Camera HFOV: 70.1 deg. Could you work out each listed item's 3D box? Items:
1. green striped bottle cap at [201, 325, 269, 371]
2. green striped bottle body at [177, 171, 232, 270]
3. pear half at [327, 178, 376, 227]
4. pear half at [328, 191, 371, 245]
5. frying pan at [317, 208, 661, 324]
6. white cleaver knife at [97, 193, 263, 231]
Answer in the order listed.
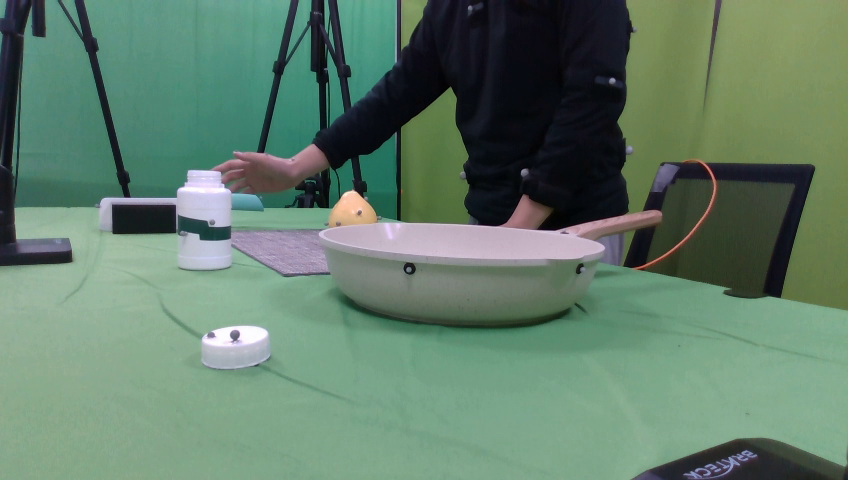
[{"bbox_3d":[-0.129,0.073,0.415,0.044,0.020,0.044,3,8,0],"label":"green striped bottle cap"},{"bbox_3d":[-0.273,-0.026,0.752,0.063,0.119,0.063,2,7,0],"label":"green striped bottle body"},{"bbox_3d":[-0.109,-0.042,0.942,0.077,0.110,0.055,-7,10,-25],"label":"pear half"},{"bbox_3d":[-0.124,-0.037,0.976,0.071,0.088,0.031,-6,11,-25],"label":"pear half"},{"bbox_3d":[0.121,0.006,0.691,0.490,0.102,0.305,-13,15,-33],"label":"frying pan"},{"bbox_3d":[-0.444,-0.053,1.121,0.288,0.066,0.021,-4,16,-27],"label":"white cleaver knife"}]
